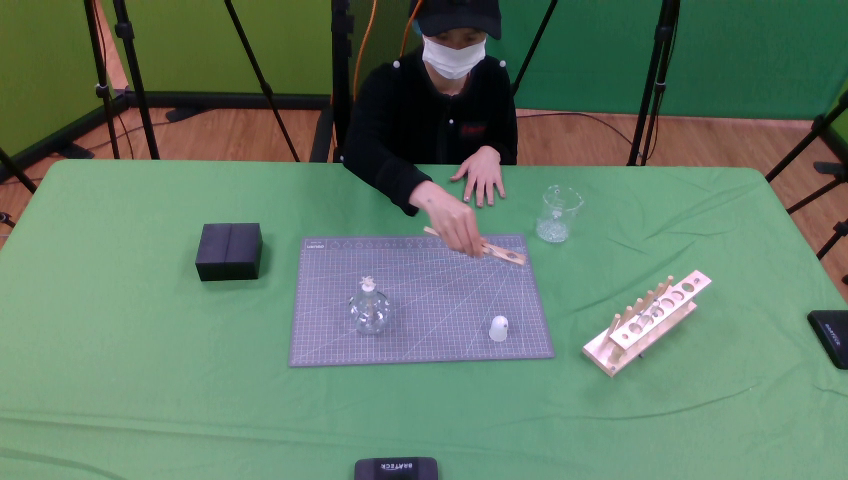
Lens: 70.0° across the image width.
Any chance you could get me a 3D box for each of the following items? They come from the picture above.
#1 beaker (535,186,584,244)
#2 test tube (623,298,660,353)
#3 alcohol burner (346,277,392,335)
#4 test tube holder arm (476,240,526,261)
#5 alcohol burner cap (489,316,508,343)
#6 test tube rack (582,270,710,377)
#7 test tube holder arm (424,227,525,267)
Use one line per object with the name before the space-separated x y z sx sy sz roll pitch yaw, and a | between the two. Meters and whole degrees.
beaker | 0.268 -0.048 1.213 0.084 0.101 0.073 6 46 0
test tube | 0.344 0.140 0.976 0.017 0.151 0.017 3 50 -3
alcohol burner | -0.093 0.106 1.020 0.078 0.120 0.077 1 46 -1
test tube holder arm | 0.125 0.019 0.995 0.087 0.015 0.010 18 73 16
alcohol burner cap | 0.130 0.151 1.045 0.034 0.048 0.033 2 46 -2
test tube rack | 0.389 0.132 1.057 0.242 0.085 0.066 -28 54 -28
test tube holder arm | 0.082 0.011 1.006 0.178 0.015 0.013 18 73 16
